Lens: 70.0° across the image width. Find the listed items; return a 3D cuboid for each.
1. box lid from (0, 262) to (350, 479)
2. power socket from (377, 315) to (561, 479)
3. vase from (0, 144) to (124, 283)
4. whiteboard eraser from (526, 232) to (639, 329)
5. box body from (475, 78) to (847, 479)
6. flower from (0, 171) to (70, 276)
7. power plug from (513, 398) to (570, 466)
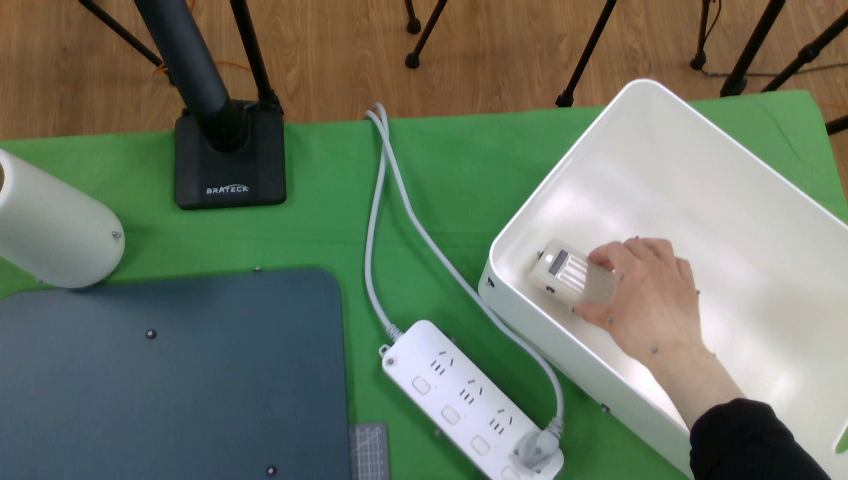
[{"bbox_3d":[-0.265,0.161,0.626,0.372,0.015,0.261,-5,75,-5],"label":"box lid"},{"bbox_3d":[0.047,0.172,0.635,0.226,0.033,0.072,44,76,8],"label":"power socket"},{"bbox_3d":[-0.366,-0.024,0.572,0.098,0.201,0.097,1,73,-4],"label":"vase"},{"bbox_3d":[0.170,0.044,0.657,0.112,0.042,0.055,33,68,7],"label":"whiteboard eraser"},{"bbox_3d":[0.258,0.058,0.613,0.363,0.161,0.254,40,76,7],"label":"box body"},{"bbox_3d":[-0.356,-0.061,0.497,0.044,0.364,0.038,32,59,11],"label":"flower"},{"bbox_3d":[0.122,0.196,0.610,0.072,0.053,0.035,-33,78,-16],"label":"power plug"}]
